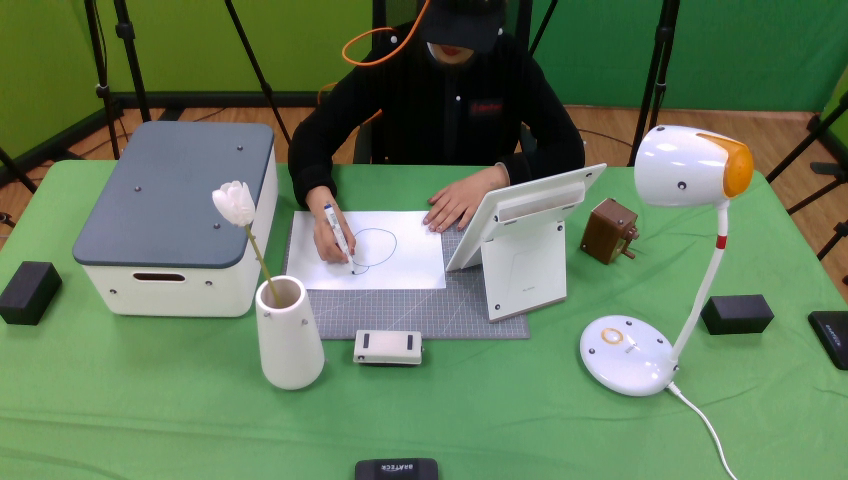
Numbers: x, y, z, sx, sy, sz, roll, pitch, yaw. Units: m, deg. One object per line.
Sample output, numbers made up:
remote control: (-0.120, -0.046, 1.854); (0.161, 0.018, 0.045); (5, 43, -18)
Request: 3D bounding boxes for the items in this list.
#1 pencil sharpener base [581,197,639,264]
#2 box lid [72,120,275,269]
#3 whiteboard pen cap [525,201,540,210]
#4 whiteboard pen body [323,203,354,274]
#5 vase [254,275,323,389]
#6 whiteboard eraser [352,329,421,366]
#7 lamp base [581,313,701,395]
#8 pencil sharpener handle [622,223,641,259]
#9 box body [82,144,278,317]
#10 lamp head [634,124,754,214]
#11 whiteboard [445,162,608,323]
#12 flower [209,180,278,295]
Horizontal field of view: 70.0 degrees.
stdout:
pencil sharpener base: (0.362, -0.017, 1.179); (0.076, 0.107, 0.061); (37, 54, 27)
box lid: (-0.417, -0.094, 1.056); (0.263, 0.015, 0.369); (2, 47, -3)
whiteboard pen cap: (0.230, -0.074, 1.289); (0.033, 0.018, 0.018); (5, 46, 4)
whiteboard pen body: (-0.156, -0.001, 1.121); (0.017, 0.141, 0.017); (-19, 12, 4)
vase: (-0.209, 0.143, 0.921); (0.098, 0.201, 0.097); (1, 46, -1)
whiteboard eraser: (-0.061, 0.180, 1.005); (0.113, 0.042, 0.055); (3, 48, -3)
lamp base: (0.361, 0.144, 0.973); (0.178, 0.181, 0.160); (34, 53, 23)
pencil sharpener handle: (0.397, 0.002, 1.146); (0.030, 0.068, 0.036); (37, 46, 27)
box body: (-0.421, -0.041, 1.108); (0.254, 0.161, 0.361); (2, 46, -3)
lamp head: (0.351, -0.089, 0.776); (0.112, 0.113, 0.122); (-30, 30, -28)
whiteboard: (0.186, 0.025, 1.029); (0.217, 0.306, 0.143); (-14, 68, -17)
flower: (-0.216, 0.075, 0.871); (0.044, 0.363, 0.038); (-29, 36, -20)
